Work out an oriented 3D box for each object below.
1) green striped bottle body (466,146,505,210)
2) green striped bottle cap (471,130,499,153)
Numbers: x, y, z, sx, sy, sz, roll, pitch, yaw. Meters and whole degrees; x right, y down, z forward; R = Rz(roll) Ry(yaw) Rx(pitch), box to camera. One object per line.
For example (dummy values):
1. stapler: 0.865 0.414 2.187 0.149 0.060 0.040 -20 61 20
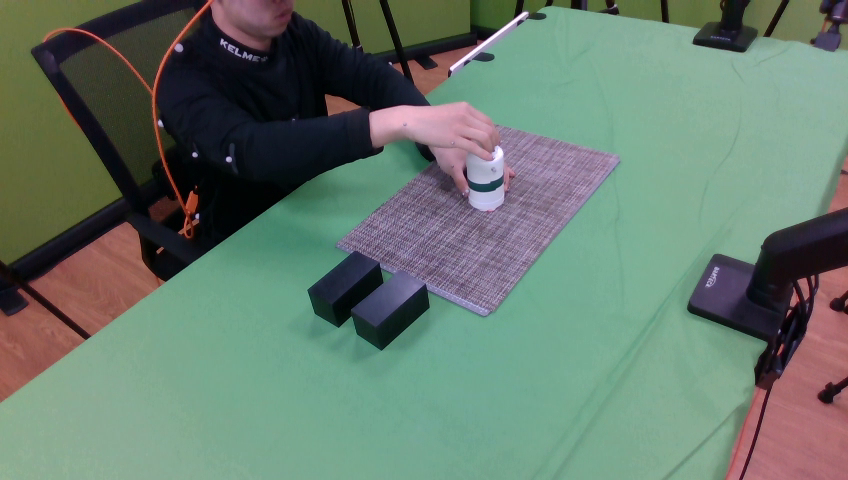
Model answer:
1. green striped bottle body: 0.102 -0.114 1.006 0.063 0.120 0.063 -4 41 4
2. green striped bottle cap: 0.097 -0.158 0.969 0.044 0.020 0.044 -5 40 5
